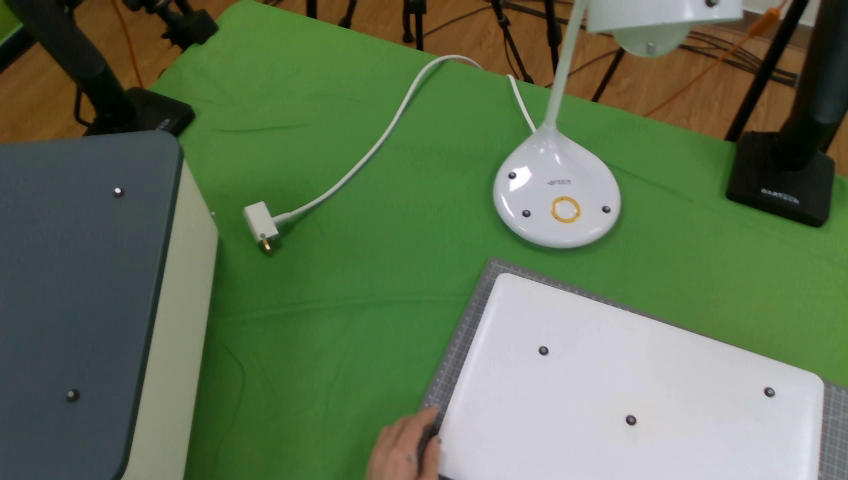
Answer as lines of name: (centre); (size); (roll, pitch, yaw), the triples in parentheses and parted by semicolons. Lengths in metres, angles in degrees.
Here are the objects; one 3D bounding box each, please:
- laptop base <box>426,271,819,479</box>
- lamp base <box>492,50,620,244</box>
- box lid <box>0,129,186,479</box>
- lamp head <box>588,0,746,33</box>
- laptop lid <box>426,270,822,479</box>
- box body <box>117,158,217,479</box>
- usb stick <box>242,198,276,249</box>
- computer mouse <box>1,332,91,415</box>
laptop base: (0.205, 0.182, 0.619); (0.353, 0.023, 0.234); (18, 63, 12)
lamp base: (0.161, -0.114, 0.710); (0.161, 0.182, 0.177); (-13, 56, -7)
box lid: (-0.368, 0.045, 0.545); (0.263, 0.015, 0.368); (-4, 59, -1)
lamp head: (0.175, -0.217, 0.444); (0.112, 0.112, 0.123); (-6, 102, -2)
laptop lid: (0.203, 0.178, 0.607); (0.355, 0.013, 0.240); (20, 63, 13)
box body: (-0.367, 0.086, 0.606); (0.254, 0.162, 0.360); (-3, 58, -1)
usb stick: (-0.200, -0.019, 0.743); (0.027, 0.021, 0.059); (-20, 90, -28)
computer mouse: (-0.395, 0.132, 0.637); (0.063, 0.041, 0.116); (-30, 21, -6)
